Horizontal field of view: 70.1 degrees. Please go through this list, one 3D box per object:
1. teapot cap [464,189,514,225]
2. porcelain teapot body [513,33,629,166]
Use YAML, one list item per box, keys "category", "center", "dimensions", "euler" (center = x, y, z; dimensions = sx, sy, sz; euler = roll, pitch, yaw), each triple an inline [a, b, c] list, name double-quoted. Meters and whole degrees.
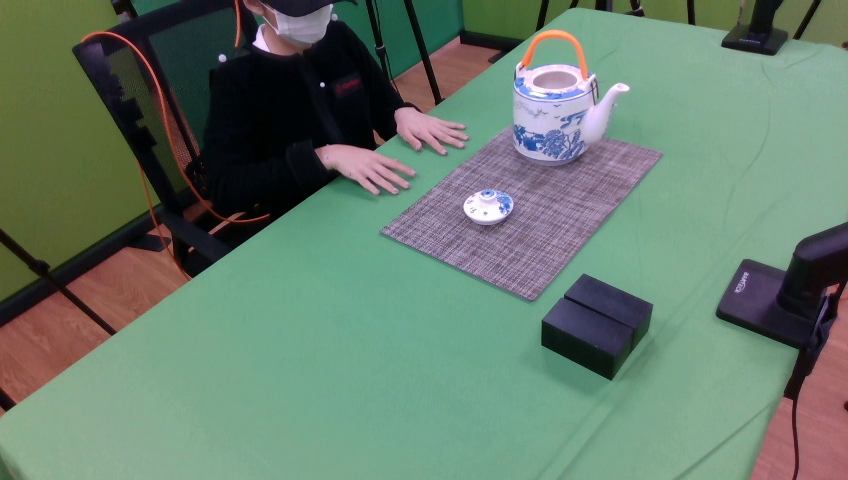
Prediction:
- category: "teapot cap"
  center: [0.108, -0.061, 1.009]
  dimensions: [0.085, 0.044, 0.085]
  euler: [-3, 39, 3]
- category: "porcelain teapot body"
  center: [0.256, -0.248, 1.065]
  dimensions: [0.204, 0.226, 0.145]
  euler: [18, 47, 28]
